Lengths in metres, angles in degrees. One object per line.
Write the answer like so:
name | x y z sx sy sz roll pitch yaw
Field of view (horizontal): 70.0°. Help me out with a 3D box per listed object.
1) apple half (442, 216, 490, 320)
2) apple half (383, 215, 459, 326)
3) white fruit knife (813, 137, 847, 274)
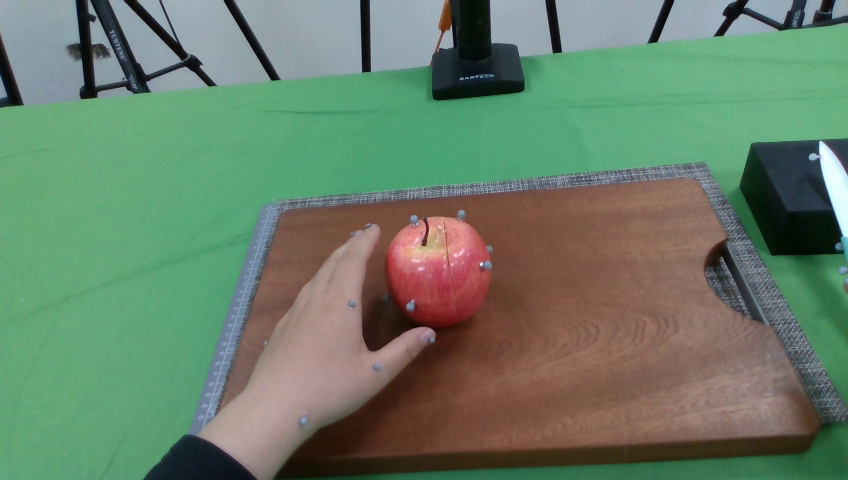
apple half | 0.035 0.020 0.460 0.033 0.082 0.080 -10 42 4
apple half | -0.004 0.026 0.461 0.053 0.075 0.080 -11 45 5
white fruit knife | 0.336 0.004 0.470 0.027 0.016 0.205 -3 62 6
